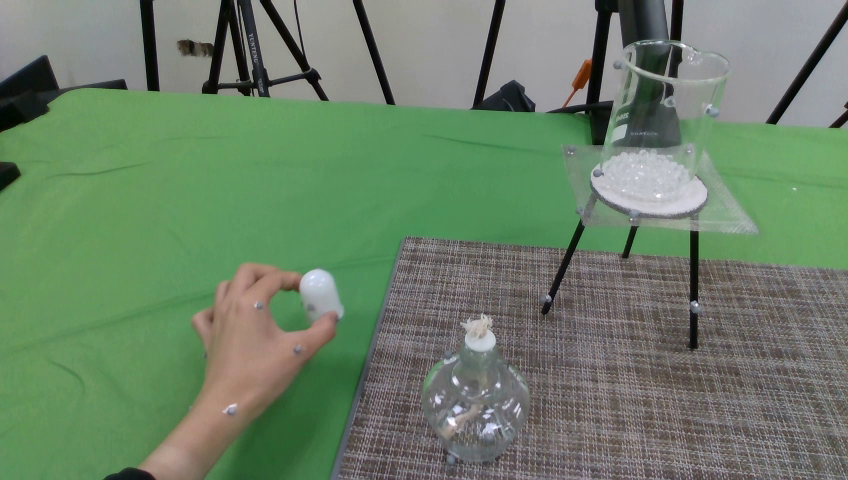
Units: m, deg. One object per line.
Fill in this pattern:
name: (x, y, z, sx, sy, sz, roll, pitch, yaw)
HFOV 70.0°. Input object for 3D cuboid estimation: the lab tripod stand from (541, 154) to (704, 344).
lab tripod stand: (0.179, 0.006, 0.517, 0.148, 0.132, 0.147, 1, 38, 0)

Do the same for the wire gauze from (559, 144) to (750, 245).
wire gauze: (0.174, -0.043, 0.473, 0.125, 0.011, 0.120, 4, 40, 0)

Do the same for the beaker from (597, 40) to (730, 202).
beaker: (0.173, -0.087, 0.449, 0.073, 0.101, 0.084, 30, 47, 31)

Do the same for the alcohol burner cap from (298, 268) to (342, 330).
alcohol burner cap: (-0.085, 0.044, 0.482, 0.034, 0.048, 0.033, -3, 39, 2)

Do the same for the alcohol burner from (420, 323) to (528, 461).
alcohol burner: (0.035, 0.099, 0.419, 0.078, 0.120, 0.077, 0, 40, 0)
